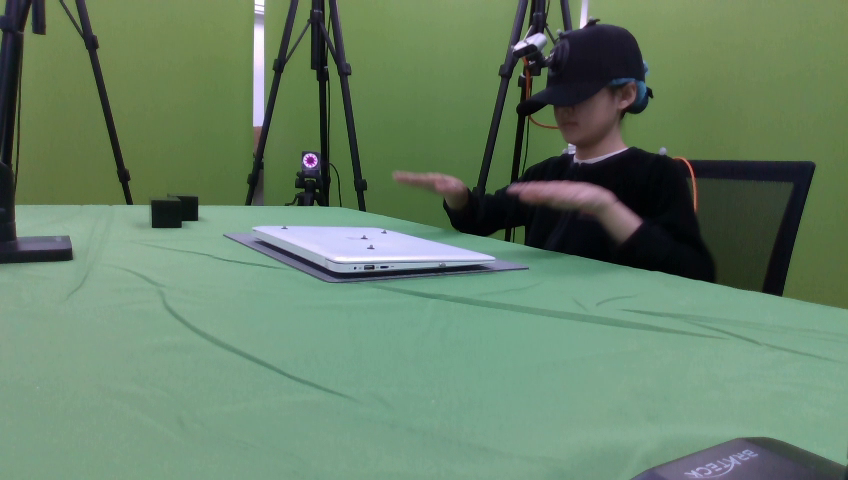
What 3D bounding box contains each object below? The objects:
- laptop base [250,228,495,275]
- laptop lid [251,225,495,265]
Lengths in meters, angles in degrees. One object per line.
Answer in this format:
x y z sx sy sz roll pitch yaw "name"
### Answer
-0.093 0.015 0.884 0.237 0.023 0.352 3 6 -32 "laptop base"
-0.090 0.004 0.883 0.243 0.013 0.355 1 7 -31 "laptop lid"
